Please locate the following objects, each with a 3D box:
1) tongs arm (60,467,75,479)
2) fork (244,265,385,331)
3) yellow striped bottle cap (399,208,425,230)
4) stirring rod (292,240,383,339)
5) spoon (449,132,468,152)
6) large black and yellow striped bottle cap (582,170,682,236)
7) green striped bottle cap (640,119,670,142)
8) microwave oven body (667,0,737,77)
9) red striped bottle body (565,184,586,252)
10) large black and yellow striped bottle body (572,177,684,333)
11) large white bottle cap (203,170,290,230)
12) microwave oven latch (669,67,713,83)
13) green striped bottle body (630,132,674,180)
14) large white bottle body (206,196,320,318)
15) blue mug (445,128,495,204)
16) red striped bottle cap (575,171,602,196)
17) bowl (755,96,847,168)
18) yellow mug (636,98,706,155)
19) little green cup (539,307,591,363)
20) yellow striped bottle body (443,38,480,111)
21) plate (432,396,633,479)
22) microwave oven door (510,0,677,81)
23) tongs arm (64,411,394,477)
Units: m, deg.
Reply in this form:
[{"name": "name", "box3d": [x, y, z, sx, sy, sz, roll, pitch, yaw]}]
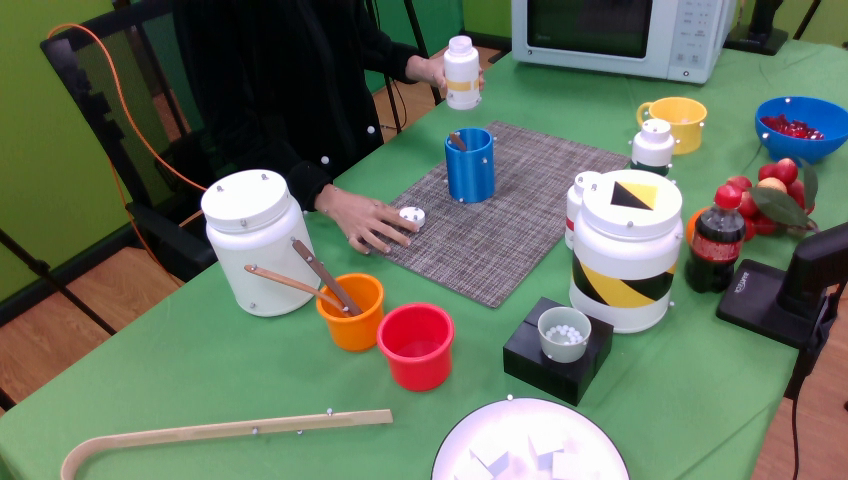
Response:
[{"name": "tongs arm", "box3d": [-0.239, 0.301, 0.648, 0.386, 0.028, 0.028, 6, 49, 16]}, {"name": "fork", "box3d": [-0.142, 0.078, 0.806, 0.209, 0.018, 0.028, 30, 32, -23]}, {"name": "yellow striped bottle cap", "box3d": [-0.020, -0.035, 1.016, 0.044, 0.019, 0.044, 1, 36, 0]}, {"name": "stirring rod", "box3d": [-0.118, 0.068, 0.826, 0.176, 0.006, 0.014, 49, 59, -4]}, {"name": "spoon", "box3d": [0.067, -0.143, 0.998, 0.041, 0.195, 0.021, 9, 79, 18]}, {"name": "large black and yellow striped bottle cap", "box3d": [0.252, -0.048, 0.735, 0.115, 0.019, 0.114, -3, 40, 3]}, {"name": "green striped bottle cap", "box3d": [0.371, -0.175, 0.968, 0.044, 0.020, 0.044, -4, 41, 4]}, {"name": "microwave oven body", "box3d": [0.462, -0.552, 1.369, 0.439, 0.261, 0.326, 15, 45, 26]}, {"name": "red striped bottle body", "box3d": [0.247, -0.041, 0.910, 0.063, 0.120, 0.062, -3, 39, 3]}, {"name": "large black and yellow striped bottle body", "box3d": [0.262, 0.017, 0.788, 0.131, 0.185, 0.130, -5, 40, 4]}, {"name": "large white bottle cap", "box3d": [-0.241, -0.057, 0.822, 0.115, 0.018, 0.114, -4, 40, 4]}, {"name": "microwave oven latch", "box3d": [0.556, -0.349, 1.261, 0.078, 0.029, 0.030, 16, 46, 27]}, {"name": "green striped bottle body", "box3d": [0.376, -0.135, 1.001, 0.063, 0.120, 0.063, -5, 41, 5]}, {"name": "large white bottle body", "box3d": [-0.233, 0.008, 0.877, 0.130, 0.185, 0.130, -4, 40, 4]}, {"name": "blue mug", "box3d": [0.081, -0.139, 1.058, 0.082, 0.106, 0.116, -4, 40, 4]}, {"name": "red striped bottle cap", "box3d": [0.242, -0.082, 0.876, 0.044, 0.018, 0.044, -5, 44, 5]}, {"name": "bowl", "box3d": [0.645, -0.177, 1.041, 0.151, 0.077, 0.150, -5, 40, 4]}, {"name": "yellow mug", "box3d": [0.453, -0.217, 1.128, 0.100, 0.064, 0.129, -34, 46, -27]}, {"name": "little green cup", "box3d": [0.167, 0.114, 0.721, 0.061, 0.039, 0.061, -4, 43, 4]}, {"name": "yellow striped bottle body", "box3d": [0.068, -0.300, 1.091, 0.063, 0.121, 0.062, -3, 42, 3]}, {"name": "plate", "box3d": [0.112, 0.261, 0.634, 0.209, 0.038, 0.208, -5, 40, 4]}, {"name": "microwave oven door", "box3d": [0.353, -0.478, 1.290, 0.353, 0.245, 0.039, 15, 45, 25]}, {"name": "tongs arm", "box3d": [-0.228, 0.241, 0.715, 0.385, 0.026, 0.050, -5, 43, 4]}]
